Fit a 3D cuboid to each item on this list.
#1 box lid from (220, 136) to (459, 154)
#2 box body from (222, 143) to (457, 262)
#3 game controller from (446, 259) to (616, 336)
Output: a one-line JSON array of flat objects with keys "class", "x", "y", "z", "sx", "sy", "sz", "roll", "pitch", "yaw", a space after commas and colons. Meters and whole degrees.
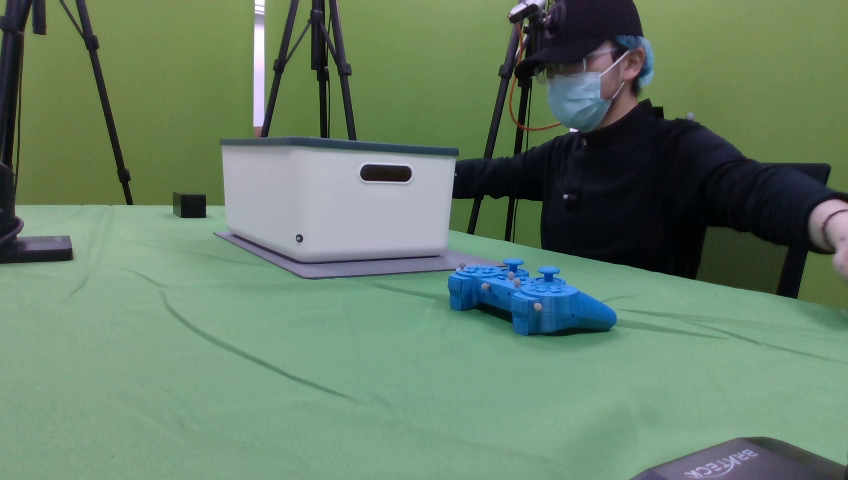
[{"class": "box lid", "x": -0.144, "y": -0.145, "z": 0.944, "sx": 0.265, "sy": 0.015, "sz": 0.369, "roll": -2, "pitch": 9, "yaw": -33}, {"class": "box body", "x": -0.148, "y": -0.073, "z": 0.956, "sx": 0.255, "sy": 0.160, "sz": 0.362, "roll": -3, "pitch": 9, "yaw": -33}, {"class": "game controller", "x": 0.091, "y": 0.048, "z": 0.562, "sx": 0.097, "sy": 0.051, "sz": 0.154, "roll": -7, "pitch": 10, "yaw": -32}]
